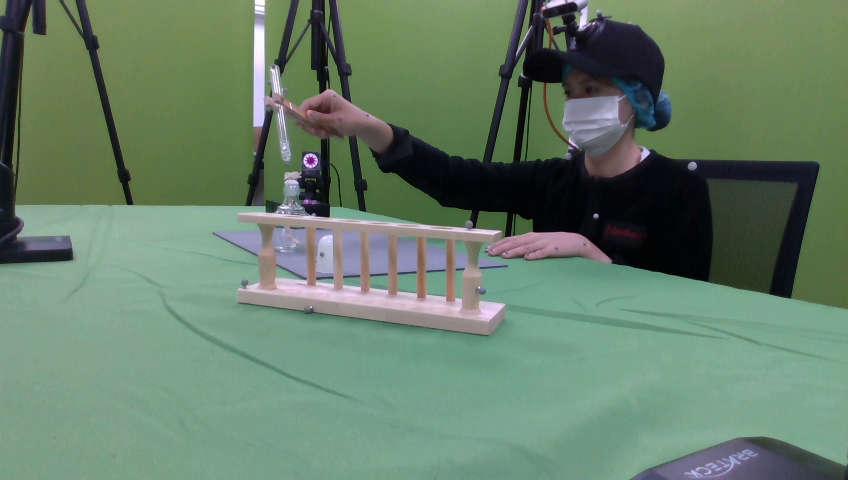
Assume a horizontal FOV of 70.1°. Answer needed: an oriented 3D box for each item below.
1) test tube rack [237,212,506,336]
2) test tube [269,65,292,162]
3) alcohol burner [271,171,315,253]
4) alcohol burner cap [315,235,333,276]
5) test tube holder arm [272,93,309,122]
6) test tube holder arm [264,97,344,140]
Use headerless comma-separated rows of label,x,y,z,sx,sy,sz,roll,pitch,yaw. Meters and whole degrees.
test tube rack,-0.049,0.024,0.552,0.242,0.085,0.067,5,8,18
test tube,-0.211,-0.186,0.889,0.017,0.150,0.017,-10,-12,-2
alcohol burner,-0.196,-0.041,0.884,0.078,0.119,0.078,3,5,0
alcohol burner cap,-0.116,0.018,0.728,0.034,0.048,0.034,3,6,0
test tube holder arm,-0.200,-0.198,0.912,0.010,0.015,0.088,-13,-14,18
test tube holder arm,-0.185,-0.190,0.954,0.013,0.015,0.179,-15,-15,26
